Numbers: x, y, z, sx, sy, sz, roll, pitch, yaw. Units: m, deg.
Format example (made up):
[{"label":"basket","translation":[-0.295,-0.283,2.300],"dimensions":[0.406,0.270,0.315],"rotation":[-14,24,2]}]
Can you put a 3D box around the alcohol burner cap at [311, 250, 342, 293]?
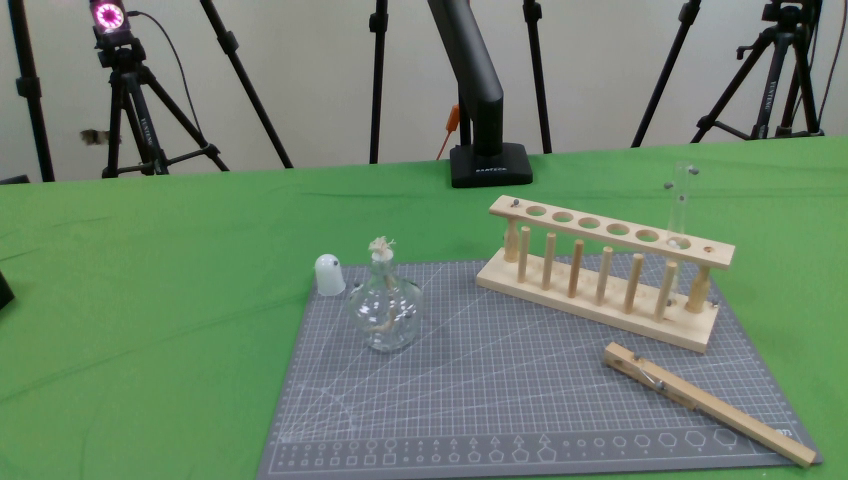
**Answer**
[{"label":"alcohol burner cap","translation":[-0.111,0.033,0.686],"dimensions":[0.034,0.048,0.033],"rotation":[-2,35,2]}]

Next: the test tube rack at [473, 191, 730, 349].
[{"label":"test tube rack","translation":[0.173,0.024,0.629],"dimensions":[0.240,0.086,0.066],"rotation":[16,39,27]}]

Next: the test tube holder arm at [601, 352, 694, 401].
[{"label":"test tube holder arm","translation":[0.202,0.120,0.549],"dimensions":[0.087,0.010,0.015],"rotation":[21,46,40]}]

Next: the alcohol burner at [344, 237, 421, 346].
[{"label":"alcohol burner","translation":[-0.042,0.046,0.595],"dimensions":[0.078,0.120,0.077],"rotation":[-2,35,2]}]

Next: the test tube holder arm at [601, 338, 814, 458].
[{"label":"test tube holder arm","translation":[0.234,0.131,0.518],"dimensions":[0.177,0.013,0.015],"rotation":[26,50,35]}]

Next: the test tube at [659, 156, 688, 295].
[{"label":"test tube","translation":[0.238,-0.009,0.582],"dimensions":[0.017,0.151,0.017],"rotation":[-6,31,4]}]
